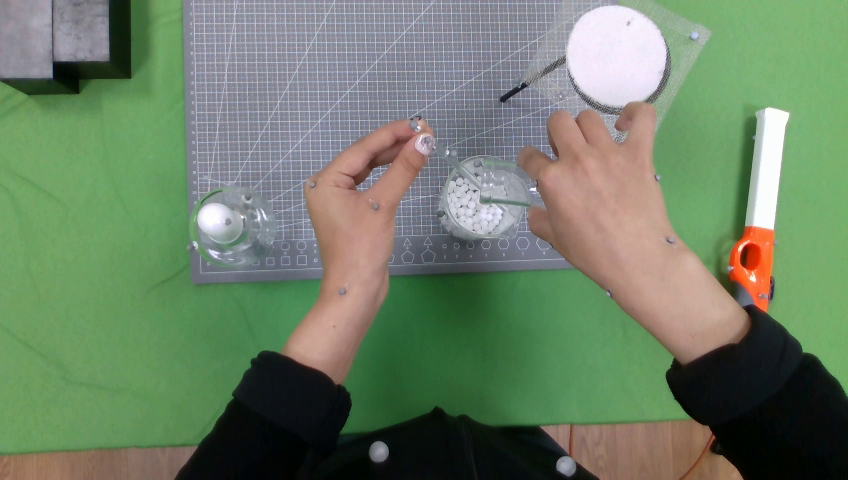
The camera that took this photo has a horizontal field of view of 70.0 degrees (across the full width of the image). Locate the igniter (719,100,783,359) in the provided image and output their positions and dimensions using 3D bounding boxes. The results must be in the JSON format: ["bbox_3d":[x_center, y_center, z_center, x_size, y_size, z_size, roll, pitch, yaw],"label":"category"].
[{"bbox_3d":[0.349,-0.010,0.644,0.057,0.025,0.276,9,88,-15],"label":"igniter"}]

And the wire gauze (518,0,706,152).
[{"bbox_3d":[0.157,-0.157,0.508,0.125,0.011,0.121,30,88,-3],"label":"wire gauze"}]

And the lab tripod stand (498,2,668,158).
[{"bbox_3d":[0.154,-0.153,0.575,0.148,0.131,0.148,0,90,-3],"label":"lab tripod stand"}]

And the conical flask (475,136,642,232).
[{"bbox_3d":[0.102,-0.048,0.477,0.122,0.075,0.075,5,87,4],"label":"conical flask"}]

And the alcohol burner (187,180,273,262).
[{"bbox_3d":[-0.180,-0.018,0.551,0.078,0.119,0.078,0,89,-4],"label":"alcohol burner"}]

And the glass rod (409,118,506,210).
[{"bbox_3d":[0.035,-0.056,0.501,0.008,0.201,0.008,-7,72,24],"label":"glass rod"}]

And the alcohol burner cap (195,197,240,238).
[{"bbox_3d":[-0.177,-0.021,0.515,0.034,0.048,0.033,1,81,-7],"label":"alcohol burner cap"}]

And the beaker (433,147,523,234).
[{"bbox_3d":[0.048,-0.040,0.580,0.074,0.100,0.084,-38,92,-5],"label":"beaker"}]
